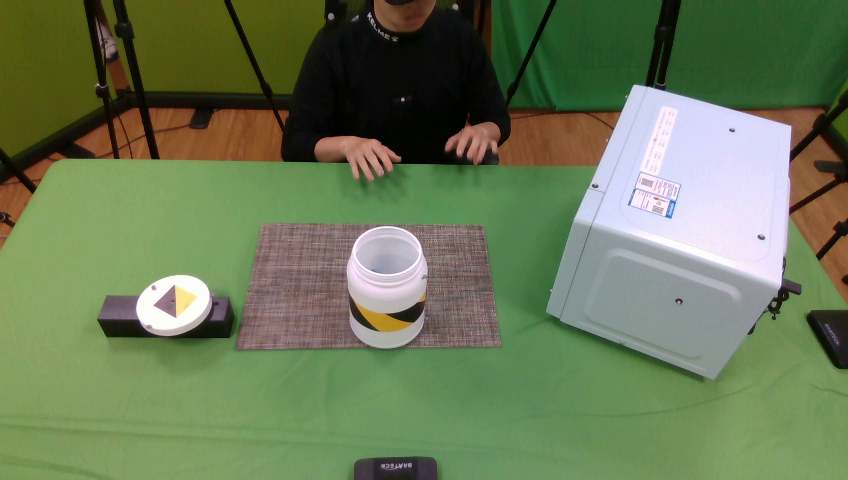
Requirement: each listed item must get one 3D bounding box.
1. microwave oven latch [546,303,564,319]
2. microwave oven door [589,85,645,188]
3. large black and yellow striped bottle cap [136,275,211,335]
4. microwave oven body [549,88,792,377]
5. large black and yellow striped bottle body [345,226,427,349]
[{"bbox_3d":[0.242,0.102,1.081,0.030,0.029,0.079,21,48,17],"label":"microwave oven latch"},{"bbox_3d":[0.341,-0.107,1.149,0.039,0.245,0.354,20,48,15],"label":"microwave oven door"},{"bbox_3d":[-0.412,0.105,0.999,0.115,0.019,0.114,3,46,-3],"label":"large black and yellow striped bottle cap"},{"bbox_3d":[0.456,-0.028,1.088,0.325,0.261,0.440,20,47,16],"label":"microwave oven body"},{"bbox_3d":[-0.062,0.078,0.998,0.131,0.185,0.130,2,46,-2],"label":"large black and yellow striped bottle body"}]
